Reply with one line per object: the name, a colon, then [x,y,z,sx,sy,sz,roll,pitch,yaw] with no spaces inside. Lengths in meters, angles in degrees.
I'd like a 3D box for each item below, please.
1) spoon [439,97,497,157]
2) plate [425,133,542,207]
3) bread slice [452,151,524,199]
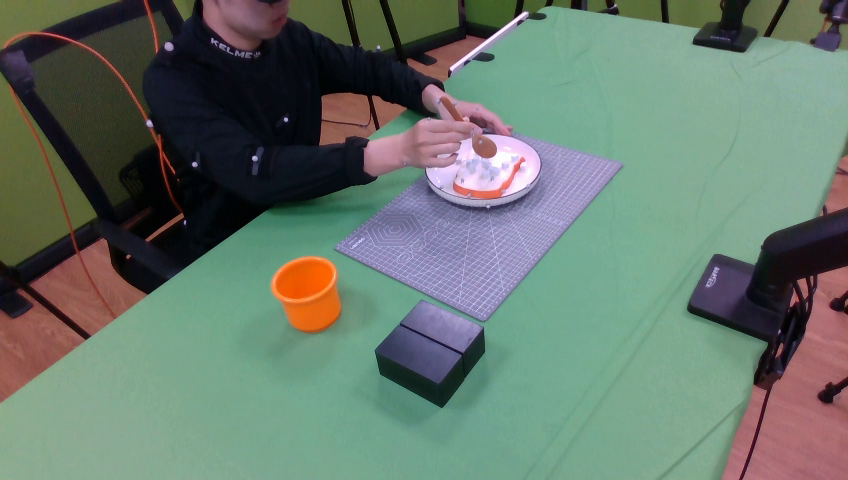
spoon: [0.072,-0.181,0.986,0.041,0.195,0.021,-10,70,25]
plate: [0.106,-0.121,1.079,0.209,0.038,0.208,-4,41,4]
bread slice: [0.111,-0.118,1.079,0.104,0.019,0.131,11,42,21]
